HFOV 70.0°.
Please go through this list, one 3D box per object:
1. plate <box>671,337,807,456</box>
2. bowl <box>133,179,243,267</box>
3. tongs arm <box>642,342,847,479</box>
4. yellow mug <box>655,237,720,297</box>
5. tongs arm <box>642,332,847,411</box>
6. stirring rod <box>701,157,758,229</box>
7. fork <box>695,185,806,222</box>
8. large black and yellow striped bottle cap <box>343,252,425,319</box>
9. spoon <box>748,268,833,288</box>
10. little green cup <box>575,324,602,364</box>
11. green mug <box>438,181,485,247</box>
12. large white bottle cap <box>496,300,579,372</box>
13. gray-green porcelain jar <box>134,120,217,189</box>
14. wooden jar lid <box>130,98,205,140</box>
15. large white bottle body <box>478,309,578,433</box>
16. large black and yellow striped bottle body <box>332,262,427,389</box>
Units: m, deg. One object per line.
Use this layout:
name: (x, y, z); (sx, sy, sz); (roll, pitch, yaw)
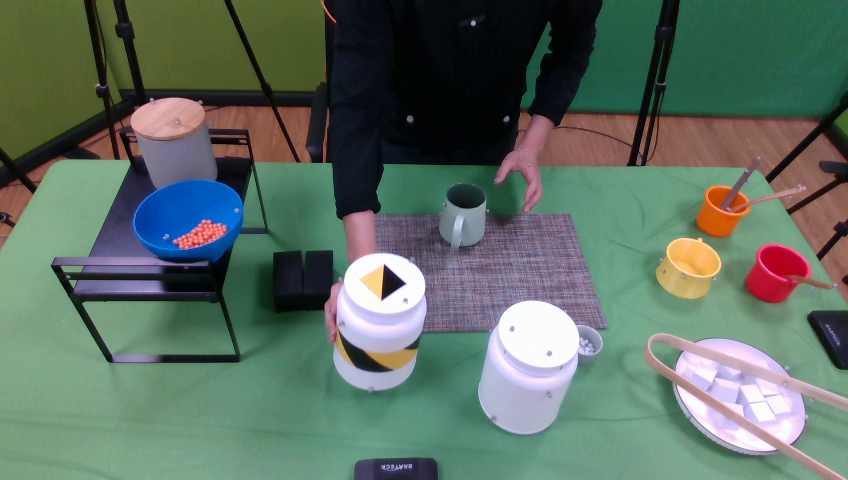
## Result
plate: (0.504, 0.254, 0.984); (0.208, 0.039, 0.206); (2, 46, -2)
bowl: (-0.339, -0.013, 0.895); (0.151, 0.077, 0.150); (2, 46, -2)
tongs arm: (0.504, 0.278, 0.918); (0.386, 0.028, 0.028); (33, 59, 22)
yellow mug: (0.509, 0.041, 1.167); (0.099, 0.064, 0.130); (24, 48, 18)
tongs arm: (0.546, 0.227, 0.968); (0.384, 0.026, 0.050); (22, 52, 13)
stirring rod: (0.634, -0.097, 1.258); (0.014, 0.006, 0.176); (38, 98, 30)
fork: (0.658, -0.074, 1.230); (0.207, 0.019, 0.028); (-23, 36, 37)
large black and yellow striped bottle cap: (-0.055, 0.061, 0.846); (0.115, 0.019, 0.114); (5, 42, -5)
spoon: (0.660, 0.068, 1.097); (0.041, 0.193, 0.021); (-4, 91, -6)
little green cup: (0.269, 0.179, 1.035); (0.061, 0.039, 0.061); (2, 46, -2)
green mug: (0.071, -0.040, 1.177); (0.092, 0.105, 0.124); (12, 47, 7)
large white bottle cap: (0.160, 0.133, 0.852); (0.115, 0.018, 0.114); (3, 46, -3)
gray-green porcelain jar: (-0.397, -0.141, 0.979); (0.106, 0.127, 0.105); (2, 47, -2)
wooden jar lid: (-0.393, -0.183, 0.934); (0.108, 0.021, 0.107); (2, 44, -2)
large white bottle body: (0.156, 0.192, 0.913); (0.131, 0.185, 0.130); (2, 46, -2)
large black and yellow striped bottle body: (-0.067, 0.121, 0.904); (0.131, 0.185, 0.130); (6, 43, -6)
